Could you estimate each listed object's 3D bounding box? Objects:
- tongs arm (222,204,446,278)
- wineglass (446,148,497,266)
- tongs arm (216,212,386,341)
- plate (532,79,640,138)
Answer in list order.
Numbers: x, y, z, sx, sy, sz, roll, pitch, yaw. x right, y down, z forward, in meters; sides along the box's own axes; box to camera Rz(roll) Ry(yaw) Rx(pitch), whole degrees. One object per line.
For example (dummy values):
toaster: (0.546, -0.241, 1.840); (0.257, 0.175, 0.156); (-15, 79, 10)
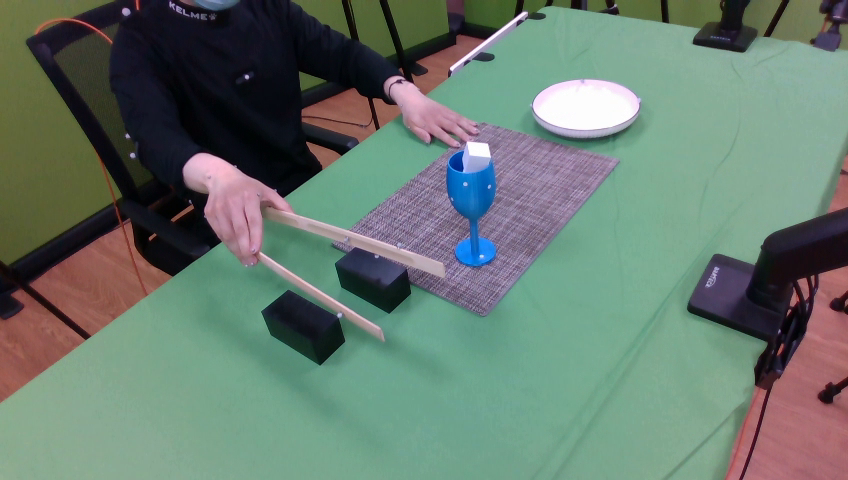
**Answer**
tongs arm: (-0.143, 0.002, 0.869); (0.382, 0.026, 0.051); (18, 49, 29)
wineglass: (0.072, -0.046, 0.889); (0.074, 0.173, 0.073); (-4, 41, 4)
tongs arm: (-0.185, 0.042, 0.830); (0.384, 0.028, 0.028); (27, 57, 36)
plate: (0.322, -0.259, 1.212); (0.209, 0.038, 0.208); (-4, 40, 4)
